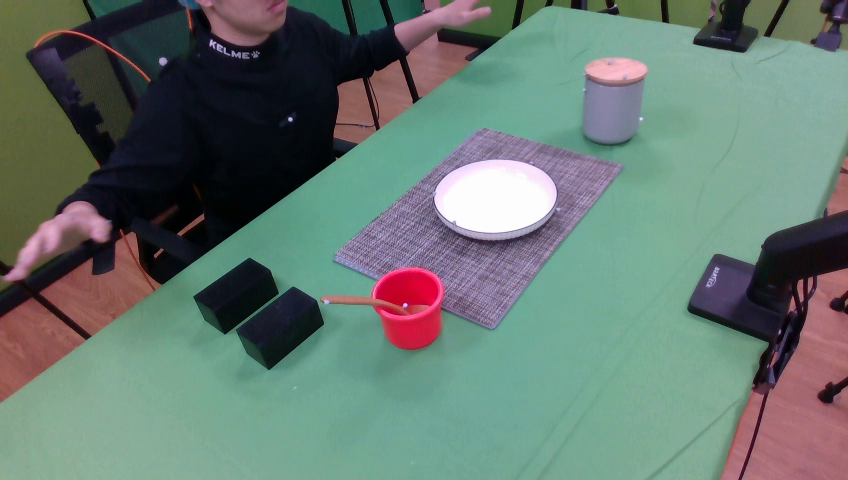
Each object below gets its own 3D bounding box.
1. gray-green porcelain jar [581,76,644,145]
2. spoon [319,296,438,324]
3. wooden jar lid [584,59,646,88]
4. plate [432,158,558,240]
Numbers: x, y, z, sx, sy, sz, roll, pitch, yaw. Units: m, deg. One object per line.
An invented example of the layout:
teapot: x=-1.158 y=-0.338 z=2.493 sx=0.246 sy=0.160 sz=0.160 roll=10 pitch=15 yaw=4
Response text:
gray-green porcelain jar: x=0.350 y=-0.251 z=1.131 sx=0.106 sy=0.127 sz=0.105 roll=-4 pitch=41 yaw=4
spoon: x=-0.055 y=0.086 z=0.784 sx=0.195 sy=0.021 sz=0.041 roll=19 pitch=19 yaw=-44
wooden jar lid: x=0.343 y=-0.298 z=1.089 sx=0.108 sy=0.021 sz=0.108 roll=-3 pitch=38 yaw=3
plate: x=0.118 y=-0.066 z=1.013 sx=0.207 sy=0.039 sz=0.206 roll=-4 pitch=41 yaw=4
